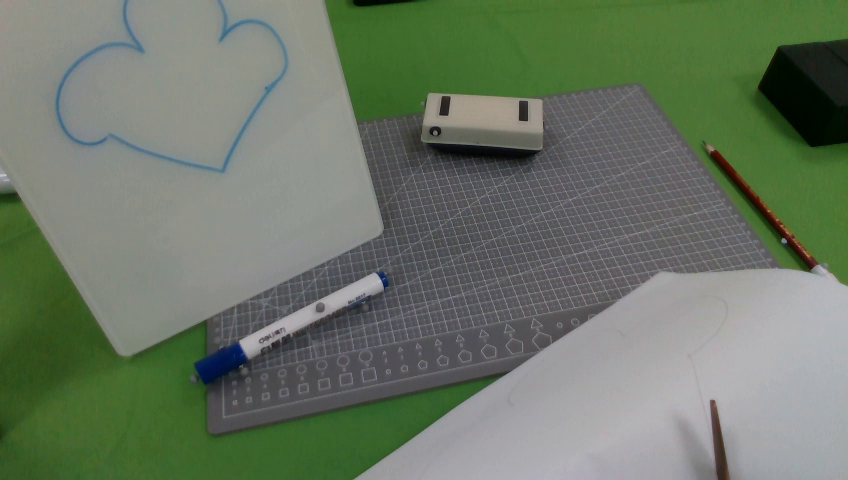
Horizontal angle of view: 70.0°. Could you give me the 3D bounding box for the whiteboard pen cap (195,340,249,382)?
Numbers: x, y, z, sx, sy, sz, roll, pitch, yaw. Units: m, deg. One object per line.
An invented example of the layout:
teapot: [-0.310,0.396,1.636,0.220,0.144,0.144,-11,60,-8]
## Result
whiteboard pen cap: [-0.138,0.082,0.415,0.033,0.018,0.018,-28,56,-21]

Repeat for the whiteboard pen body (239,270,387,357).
whiteboard pen body: [-0.089,0.057,0.436,0.141,0.017,0.017,-26,55,-21]

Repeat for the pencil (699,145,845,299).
pencil: [0.297,-0.025,0.532,0.012,0.012,0.192,-12,49,-11]

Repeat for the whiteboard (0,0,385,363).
whiteboard: [-0.183,-0.111,0.433,0.217,0.308,0.142,-27,36,-21]

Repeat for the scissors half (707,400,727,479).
scissors half: [0.146,0.160,0.290,0.013,0.175,0.040,-8,8,11]

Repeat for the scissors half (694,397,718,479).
scissors half: [0.142,0.158,0.267,0.013,0.040,0.174,-7,66,6]

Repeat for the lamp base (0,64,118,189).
lamp base: [-0.382,-0.160,0.511,0.178,0.182,0.160,21,52,19]

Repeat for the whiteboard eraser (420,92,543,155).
whiteboard eraser: [0.054,-0.108,0.569,0.112,0.042,0.055,5,51,3]
